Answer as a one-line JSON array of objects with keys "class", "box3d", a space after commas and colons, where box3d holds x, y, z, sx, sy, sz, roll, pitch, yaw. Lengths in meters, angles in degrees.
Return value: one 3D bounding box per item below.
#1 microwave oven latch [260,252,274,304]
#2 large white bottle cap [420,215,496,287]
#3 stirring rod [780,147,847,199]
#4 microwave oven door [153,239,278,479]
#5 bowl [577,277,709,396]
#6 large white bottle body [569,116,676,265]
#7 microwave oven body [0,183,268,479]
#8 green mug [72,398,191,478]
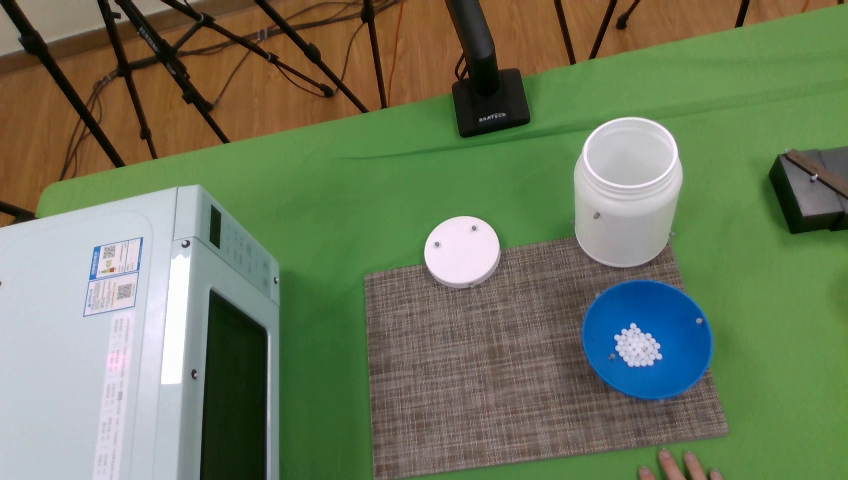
[{"class": "microwave oven latch", "box3d": [-0.246, 0.060, 0.927, 0.030, 0.030, 0.078, -12, 63, 7]}, {"class": "large white bottle cap", "box3d": [0.051, 0.015, 0.908, 0.114, 0.018, 0.114, -5, 62, 10]}, {"class": "stirring rod", "box3d": [0.542, -0.068, 0.786, 0.174, 0.006, 0.014, 47, 116, 27]}, {"class": "microwave oven door", "box3d": [-0.243, 0.206, 0.738, 0.039, 0.246, 0.352, -12, 62, 7]}, {"class": "bowl", "box3d": [0.271, 0.130, 0.766, 0.151, 0.077, 0.150, -5, 63, 11]}, {"class": "large white bottle body", "box3d": [0.259, -0.063, 0.803, 0.130, 0.186, 0.129, -6, 59, 10]}, {"class": "microwave oven body", "box3d": [-0.389, 0.201, 0.779, 0.326, 0.262, 0.437, -12, 63, 7]}, {"class": "green mug", "box3d": [-0.364, 0.246, 0.776, 0.125, 0.106, 0.091, -21, 64, -4]}]
